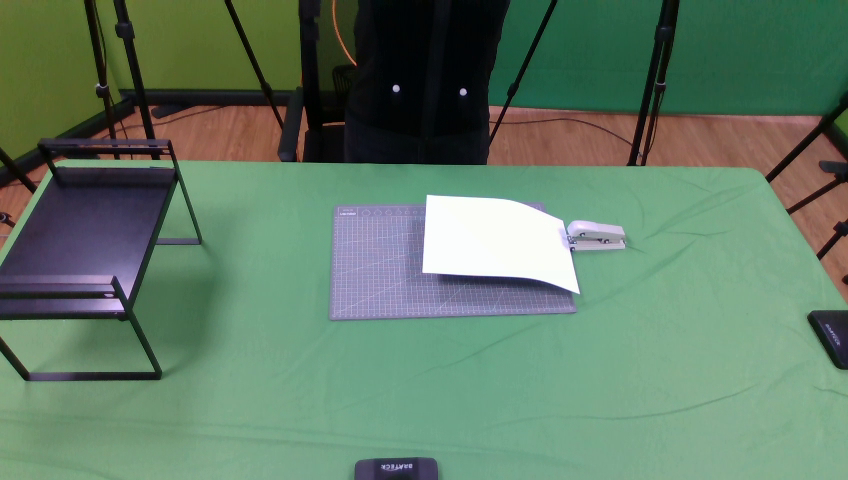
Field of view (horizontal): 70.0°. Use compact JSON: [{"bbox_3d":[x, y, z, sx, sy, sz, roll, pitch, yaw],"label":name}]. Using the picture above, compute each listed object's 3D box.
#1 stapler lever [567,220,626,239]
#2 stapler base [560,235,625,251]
[{"bbox_3d":[0.345,-0.020,1.209,0.118,0.040,0.026,-2,45,-6],"label":"stapler lever"},{"bbox_3d":[0.342,-0.002,1.225,0.131,0.024,0.041,-1,45,-7],"label":"stapler base"}]
